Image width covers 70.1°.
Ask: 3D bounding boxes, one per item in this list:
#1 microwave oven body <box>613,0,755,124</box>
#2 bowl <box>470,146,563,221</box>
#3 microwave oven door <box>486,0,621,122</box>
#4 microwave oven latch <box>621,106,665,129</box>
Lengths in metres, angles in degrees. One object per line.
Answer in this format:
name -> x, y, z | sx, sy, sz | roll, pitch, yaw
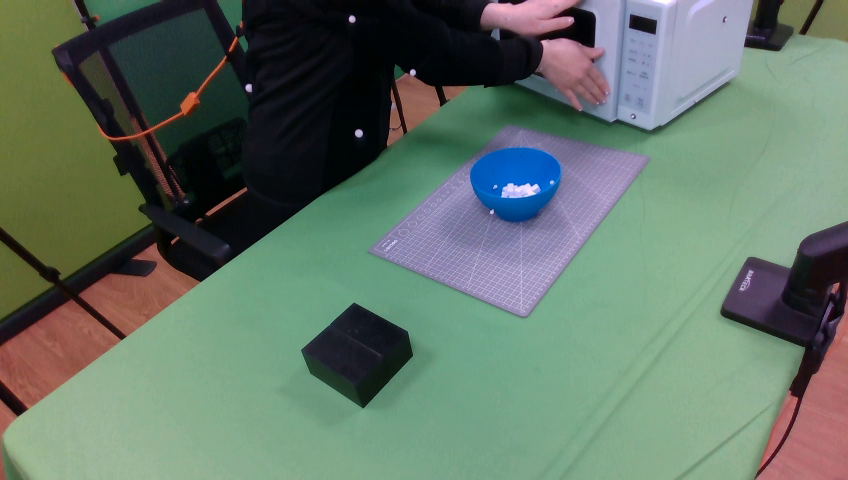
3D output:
microwave oven body -> 0.402, -0.458, 1.259 | 0.327, 0.261, 0.437 | -33, 45, -24
bowl -> 0.155, -0.084, 1.008 | 0.151, 0.077, 0.150 | -6, 39, 5
microwave oven door -> 0.255, -0.406, 1.217 | 0.039, 0.245, 0.352 | -31, 45, -23
microwave oven latch -> 0.413, -0.237, 1.146 | 0.030, 0.029, 0.078 | -32, 44, -23
